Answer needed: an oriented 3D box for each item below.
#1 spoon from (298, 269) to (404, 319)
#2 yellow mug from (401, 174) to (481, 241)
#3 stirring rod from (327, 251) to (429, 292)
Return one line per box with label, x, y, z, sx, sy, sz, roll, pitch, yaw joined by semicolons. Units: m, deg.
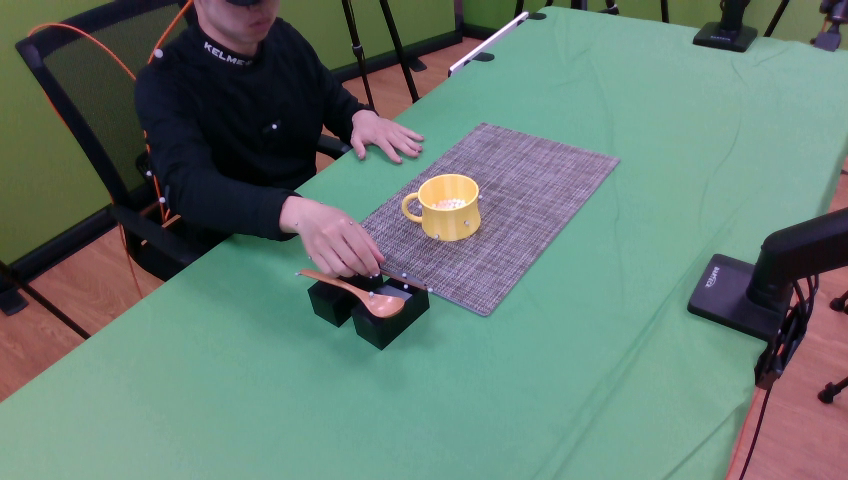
spoon;-0.106;0.068;0.831;0.192;0.022;0.042;20;47;32
yellow mug;0.026;-0.054;0.989;0.130;0.064;0.099;-1;41;8
stirring rod;-0.068;0.043;0.858;0.175;0.006;0.014;18;10;27
